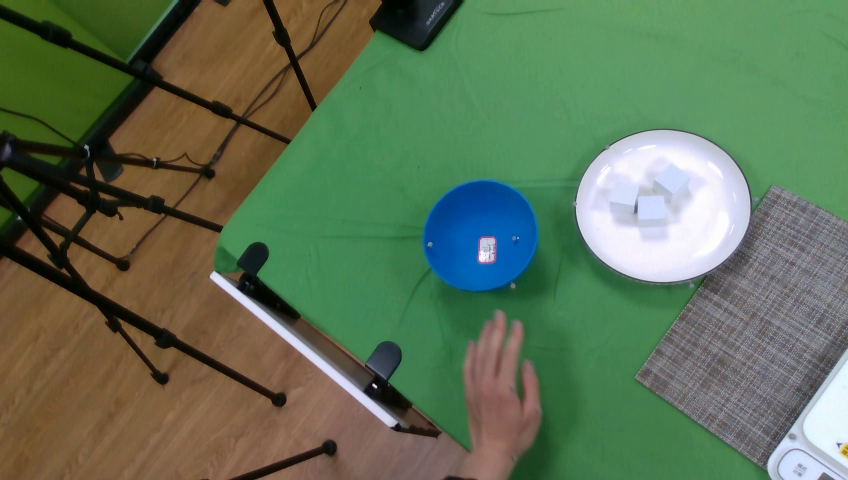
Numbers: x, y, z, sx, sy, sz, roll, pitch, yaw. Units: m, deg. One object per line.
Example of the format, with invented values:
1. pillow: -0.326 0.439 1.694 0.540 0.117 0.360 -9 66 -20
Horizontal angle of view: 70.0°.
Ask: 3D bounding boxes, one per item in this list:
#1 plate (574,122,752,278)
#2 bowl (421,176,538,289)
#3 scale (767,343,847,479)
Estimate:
1. plate: 0.299 -0.049 0.771 0.207 0.039 0.206 -5 71 15
2. bowl: 0.079 -0.001 0.797 0.151 0.077 0.150 -5 72 15
3. scale: 0.481 0.206 0.634 0.147 0.032 0.201 36 86 24
